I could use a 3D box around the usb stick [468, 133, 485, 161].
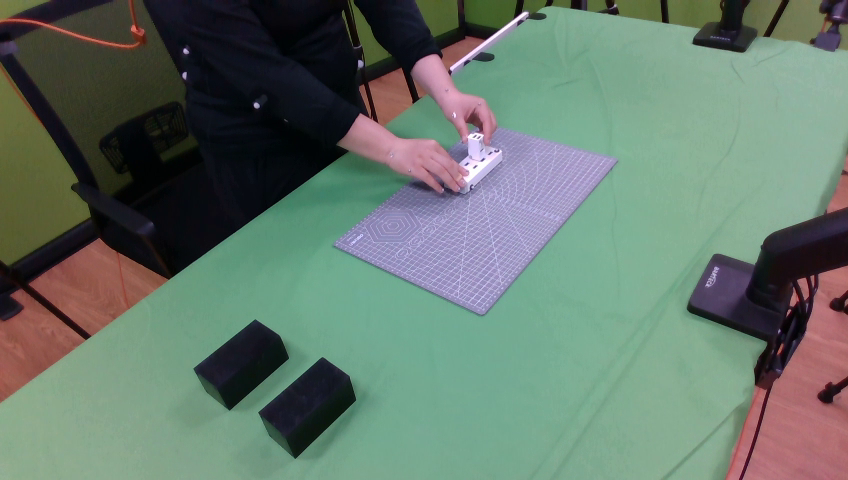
[{"bbox_3d":[0.096,-0.162,1.095,0.027,0.059,0.021,22,49,27],"label":"usb stick"}]

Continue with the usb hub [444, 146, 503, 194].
[{"bbox_3d":[0.091,-0.129,1.103,0.049,0.025,0.125,23,49,30],"label":"usb hub"}]
